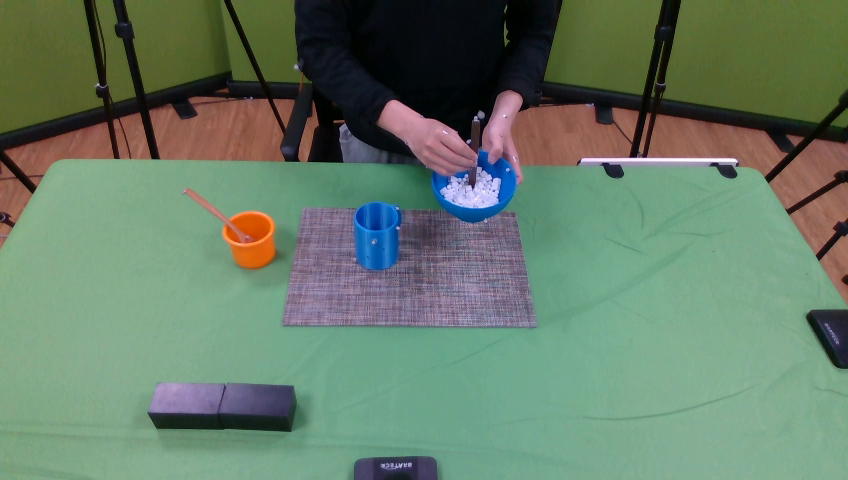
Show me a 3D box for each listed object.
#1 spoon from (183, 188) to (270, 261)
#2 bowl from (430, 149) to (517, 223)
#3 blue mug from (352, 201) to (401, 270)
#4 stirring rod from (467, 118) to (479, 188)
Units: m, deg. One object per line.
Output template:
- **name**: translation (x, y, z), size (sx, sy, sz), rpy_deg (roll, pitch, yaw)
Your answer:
- **spoon**: translation (-0.360, -0.029, 1.110), size (0.021, 0.194, 0.041), rpy_deg (-21, 31, 41)
- **bowl**: translation (0.086, -0.084, 1.079), size (0.151, 0.077, 0.150), rpy_deg (-1, 50, 1)
- **blue mug**: translation (-0.082, -0.017, 1.144), size (0.082, 0.106, 0.116), rpy_deg (30, 51, 22)
- **stirring rod**: translation (0.084, -0.144, 1.036), size (0.014, 0.177, 0.006), rpy_deg (6, 58, 6)
